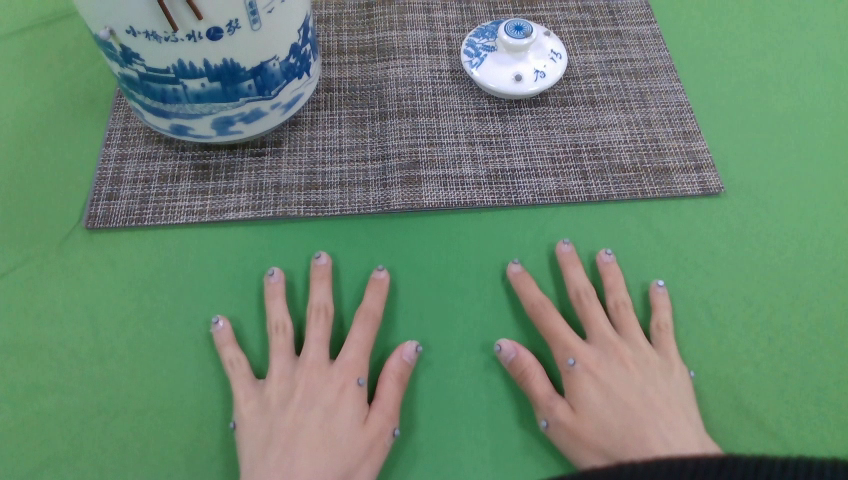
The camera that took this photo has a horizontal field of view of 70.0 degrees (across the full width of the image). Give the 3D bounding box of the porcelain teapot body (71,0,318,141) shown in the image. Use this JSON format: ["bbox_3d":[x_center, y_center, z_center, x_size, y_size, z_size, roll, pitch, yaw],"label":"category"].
[{"bbox_3d":[-0.156,-0.202,0.394,0.145,0.227,0.203,-9,60,-7],"label":"porcelain teapot body"}]

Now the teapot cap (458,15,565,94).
[{"bbox_3d":[0.069,-0.152,0.477,0.085,0.044,0.084,-1,59,1],"label":"teapot cap"}]
